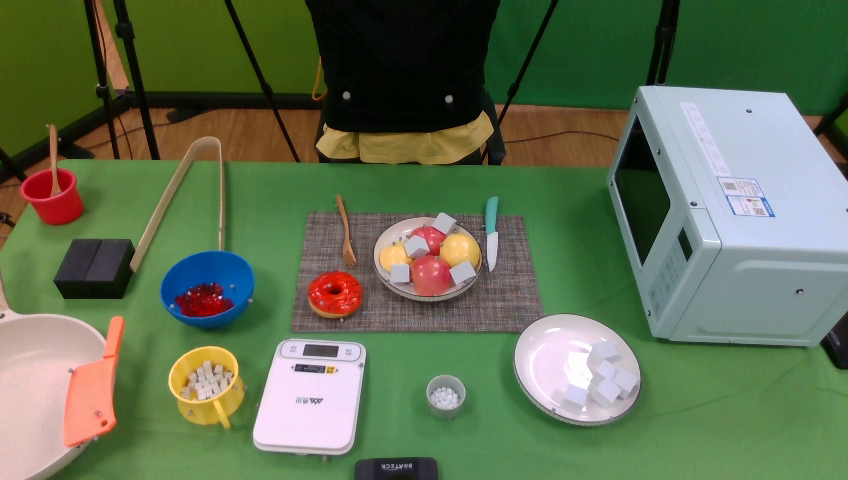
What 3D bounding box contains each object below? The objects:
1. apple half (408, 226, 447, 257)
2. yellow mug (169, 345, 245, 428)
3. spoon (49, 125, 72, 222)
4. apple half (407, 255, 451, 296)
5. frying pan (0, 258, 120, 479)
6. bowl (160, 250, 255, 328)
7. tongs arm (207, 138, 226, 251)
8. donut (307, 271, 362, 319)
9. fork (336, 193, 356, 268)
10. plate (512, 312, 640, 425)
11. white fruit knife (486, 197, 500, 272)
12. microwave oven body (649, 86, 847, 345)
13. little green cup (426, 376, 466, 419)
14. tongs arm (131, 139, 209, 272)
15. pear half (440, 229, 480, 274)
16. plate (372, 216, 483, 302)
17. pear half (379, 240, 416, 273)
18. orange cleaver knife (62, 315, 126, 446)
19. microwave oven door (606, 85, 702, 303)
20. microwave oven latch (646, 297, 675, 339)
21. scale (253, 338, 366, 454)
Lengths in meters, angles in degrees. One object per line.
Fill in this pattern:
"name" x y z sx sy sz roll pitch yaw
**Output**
"apple half" 0.010 -0.006 1.176 0.081 0.033 0.081 2 51 -2
"yellow mug" -0.322 0.230 0.922 0.100 0.064 0.130 -24 53 -25
"spoon" -0.718 -0.131 1.189 0.041 0.021 0.193 -4 90 -7
"apple half" 0.011 0.058 1.103 0.075 0.053 0.080 -6 43 -14
"frying pan" -0.647 0.164 0.936 0.307 0.103 0.485 -19 58 -22
"bowl" -0.362 0.098 1.040 0.151 0.077 0.150 2 45 -2
"tongs arm" -0.431 -0.089 1.245 0.051 0.026 0.382 -8 46 -6
"donut" -0.158 0.097 1.073 0.099 0.048 0.098 4 45 -4
"fork" -0.159 -0.024 1.207 0.019 0.028 0.206 14 39 -27
"plate" 0.246 0.213 0.999 0.208 0.039 0.206 2 46 -2
"white fruit knife" 0.138 -0.015 1.221 0.027 0.016 0.206 -2 46 10
"microwave oven body" 0.567 -0.053 1.118 0.326 0.261 0.439 2 45 -1
"little green cup" 0.033 0.248 0.950 0.061 0.039 0.061 2 46 -2
"tongs arm" -0.514 -0.085 1.239 0.028 0.028 0.385 -1 45 6
"pear half" 0.065 0.007 1.151 0.076 0.056 0.109 -10 43 -2
"plate" 0.006 0.038 1.145 0.209 0.038 0.208 2 46 -2
"pear half" -0.048 0.024 1.147 0.070 0.031 0.087 12 47 -11
"orange cleaver knife" -0.480 0.199 0.887 0.077 0.012 0.210 -9 47 -8
"microwave oven door" 0.422 -0.094 1.140 0.039 0.245 0.353 2 46 -1
"microwave oven latch" 0.412 0.134 1.061 0.030 0.029 0.078 4 45 1
"scale" -0.175 0.236 0.951 0.149 0.032 0.199 4 45 -1
